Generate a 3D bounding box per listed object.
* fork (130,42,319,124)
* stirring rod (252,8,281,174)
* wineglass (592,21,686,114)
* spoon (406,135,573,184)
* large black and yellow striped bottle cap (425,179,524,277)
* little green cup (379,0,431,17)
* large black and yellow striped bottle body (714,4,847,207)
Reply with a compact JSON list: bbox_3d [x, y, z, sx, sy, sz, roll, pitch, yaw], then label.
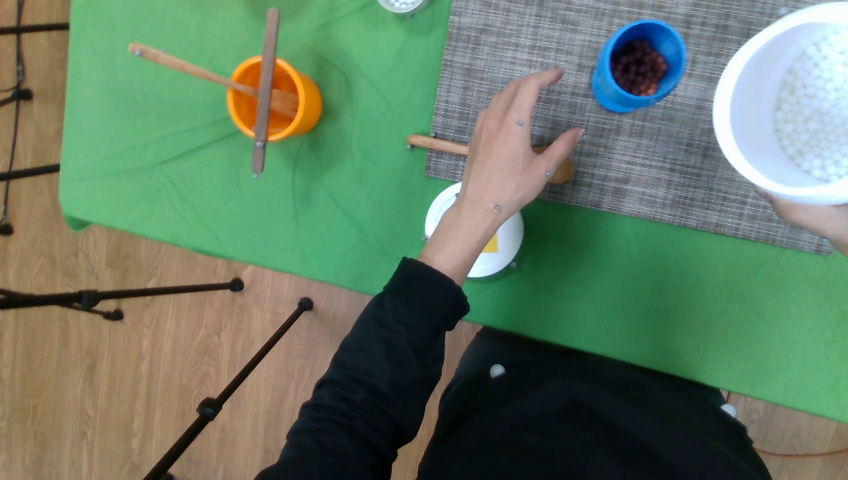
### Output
[{"bbox_3d":[-0.211,-0.171,0.666,0.209,0.018,0.028,15,113,-36],"label":"fork"},{"bbox_3d":[-0.172,-0.159,0.657,0.014,0.006,0.176,12,102,10],"label":"stirring rod"},{"bbox_3d":[0.196,-0.156,0.569,0.073,0.172,0.074,2,99,12],"label":"wineglass"},{"bbox_3d":[0.071,-0.098,0.683,0.193,0.021,0.042,12,122,9],"label":"spoon"},{"bbox_3d":[0.058,-0.013,0.706,0.115,0.019,0.115,2,104,11],"label":"large black and yellow striped bottle cap"},{"bbox_3d":[-0.019,-0.276,0.666,0.061,0.038,0.062,2,100,12],"label":"little green cup"},{"bbox_3d":[0.296,-0.094,0.430,0.129,0.185,0.131,13,109,44],"label":"large black and yellow striped bottle body"}]
